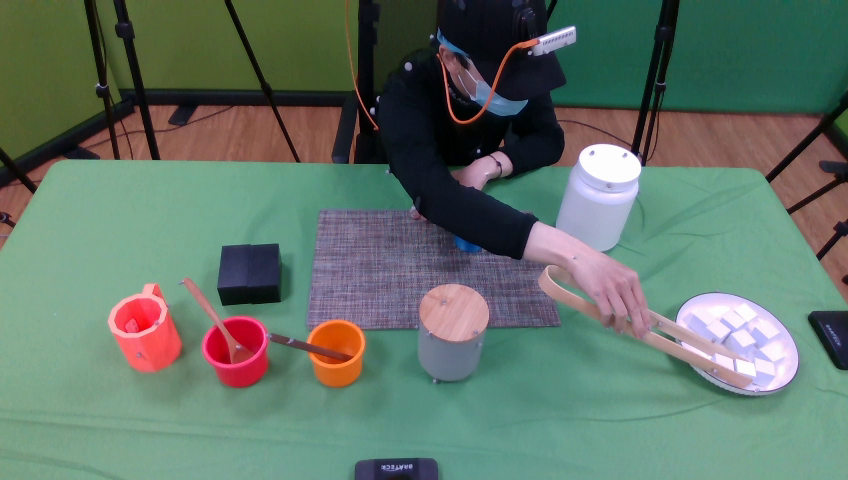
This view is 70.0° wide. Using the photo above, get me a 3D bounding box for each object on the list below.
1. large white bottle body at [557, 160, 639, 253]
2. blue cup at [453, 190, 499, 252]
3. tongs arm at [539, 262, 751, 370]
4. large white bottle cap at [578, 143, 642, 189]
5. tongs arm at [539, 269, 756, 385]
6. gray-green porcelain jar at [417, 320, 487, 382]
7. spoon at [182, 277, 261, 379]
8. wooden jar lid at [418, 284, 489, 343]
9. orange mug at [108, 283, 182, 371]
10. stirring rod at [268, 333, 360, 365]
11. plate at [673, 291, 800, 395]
[{"bbox_3d":[0.340,-0.080,1.185,0.131,0.185,0.130,2,46,-1],"label":"large white bottle body"},{"bbox_3d":[0.094,-0.032,1.173,0.093,0.101,0.092,3,46,-3],"label":"blue cup"},{"bbox_3d":[0.364,0.132,0.989,0.385,0.026,0.050,28,35,-1],"label":"tongs arm"},{"bbox_3d":[0.345,-0.139,1.123,0.115,0.018,0.114,2,46,-2],"label":"large white bottle cap"},{"bbox_3d":[0.360,0.144,0.970,0.388,0.028,0.028,26,38,-5],"label":"tongs arm"},{"bbox_3d":[0.042,0.158,0.975,0.106,0.127,0.105,2,46,-2],"label":"gray-green porcelain jar"},{"bbox_3d":[-0.320,0.137,0.957,0.041,0.021,0.194,-37,102,-32],"label":"spoon"},{"bbox_3d":[0.045,0.115,0.931,0.108,0.021,0.107,2,49,-2],"label":"wooden jar lid"},{"bbox_3d":[-0.445,0.134,0.982,0.083,0.101,0.125,-1,50,-5],"label":"orange mug"},{"bbox_3d":[-0.167,0.170,0.941,0.177,0.006,0.014,26,26,-40],"label":"stirring rod"},{"bbox_3d":[0.533,0.179,1.050,0.208,0.039,0.206,2,46,-2],"label":"plate"}]
